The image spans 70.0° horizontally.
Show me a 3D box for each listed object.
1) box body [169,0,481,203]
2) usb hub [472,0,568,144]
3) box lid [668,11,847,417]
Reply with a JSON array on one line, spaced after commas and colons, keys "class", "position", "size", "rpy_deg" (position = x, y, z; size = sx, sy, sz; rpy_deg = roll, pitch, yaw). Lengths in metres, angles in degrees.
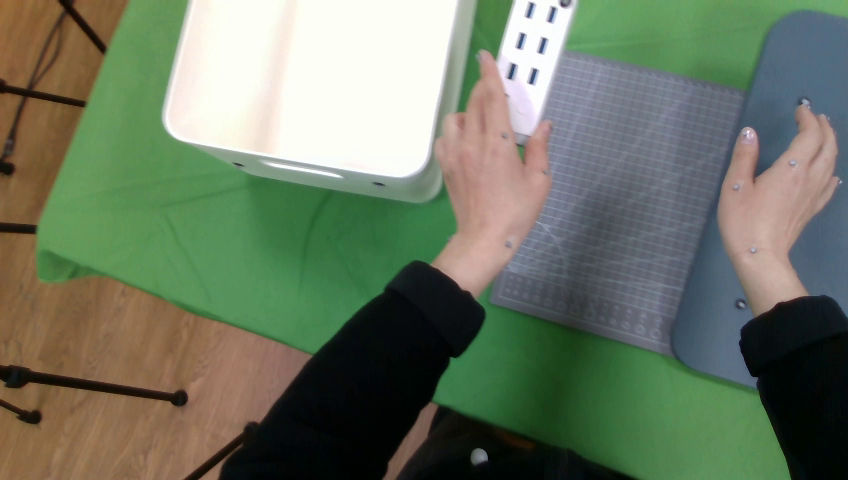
[{"class": "box body", "position": [-0.076, -0.236, 0.643], "size": [0.254, 0.161, 0.363], "rpy_deg": [10, 83, 8]}, {"class": "usb hub", "position": [0.079, -0.146, 0.502], "size": [0.049, 0.025, 0.125], "rpy_deg": [16, 97, 14]}, {"class": "box lid", "position": [0.418, -0.013, 0.590], "size": [0.262, 0.015, 0.372], "rpy_deg": [16, 98, 9]}]
